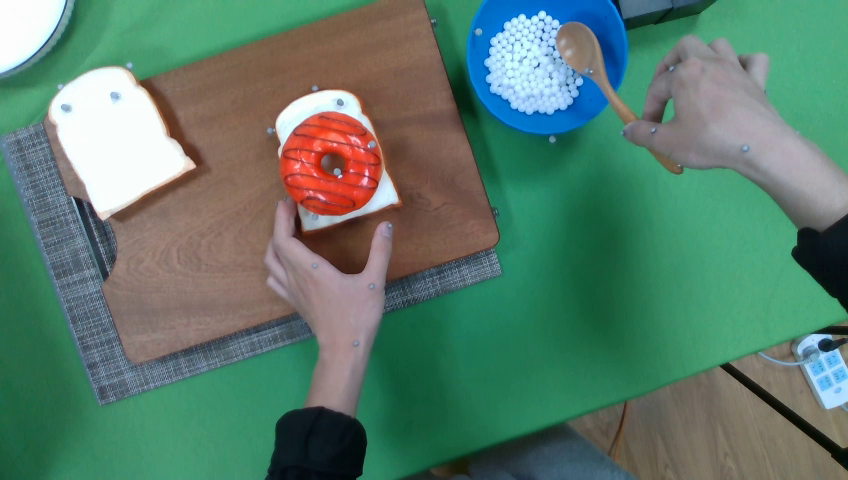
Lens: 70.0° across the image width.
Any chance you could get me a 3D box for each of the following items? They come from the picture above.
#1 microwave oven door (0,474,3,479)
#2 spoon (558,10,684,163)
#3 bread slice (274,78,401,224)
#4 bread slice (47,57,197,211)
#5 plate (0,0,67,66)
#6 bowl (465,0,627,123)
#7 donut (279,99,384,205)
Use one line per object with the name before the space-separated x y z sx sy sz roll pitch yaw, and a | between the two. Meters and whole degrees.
microwave oven door | -0.505 0.140 0.510 0.039 0.243 0.356 -21 93 1
spoon | 0.168 -0.135 0.529 0.022 0.042 0.191 -3 53 -26
bread slice | -0.093 -0.091 0.600 0.105 0.019 0.131 -19 95 -1
bread slice | -0.303 -0.108 0.594 0.107 0.018 0.134 -33 92 1
plate | -0.452 -0.271 0.602 0.208 0.039 0.207 0 94 -1
bowl | 0.112 -0.185 0.594 0.151 0.076 0.151 0 94 -1
donut | -0.087 -0.082 0.570 0.099 0.048 0.099 0 95 -1
